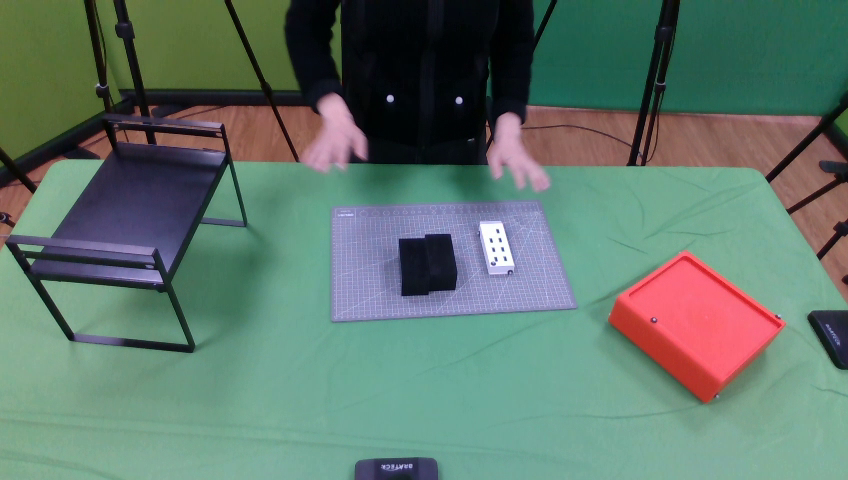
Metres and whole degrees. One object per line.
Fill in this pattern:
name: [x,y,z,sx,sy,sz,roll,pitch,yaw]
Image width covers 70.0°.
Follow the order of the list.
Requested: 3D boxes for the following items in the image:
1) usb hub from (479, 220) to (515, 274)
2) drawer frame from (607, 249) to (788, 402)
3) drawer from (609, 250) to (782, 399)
usb hub: [0.141,0.013,1.188,0.049,0.025,0.124,-3,46,-6]
drawer frame: [0.470,0.139,1.052,0.202,0.083,0.212,-28,55,-28]
drawer: [0.469,0.140,1.055,0.194,0.073,0.210,-28,55,-27]
